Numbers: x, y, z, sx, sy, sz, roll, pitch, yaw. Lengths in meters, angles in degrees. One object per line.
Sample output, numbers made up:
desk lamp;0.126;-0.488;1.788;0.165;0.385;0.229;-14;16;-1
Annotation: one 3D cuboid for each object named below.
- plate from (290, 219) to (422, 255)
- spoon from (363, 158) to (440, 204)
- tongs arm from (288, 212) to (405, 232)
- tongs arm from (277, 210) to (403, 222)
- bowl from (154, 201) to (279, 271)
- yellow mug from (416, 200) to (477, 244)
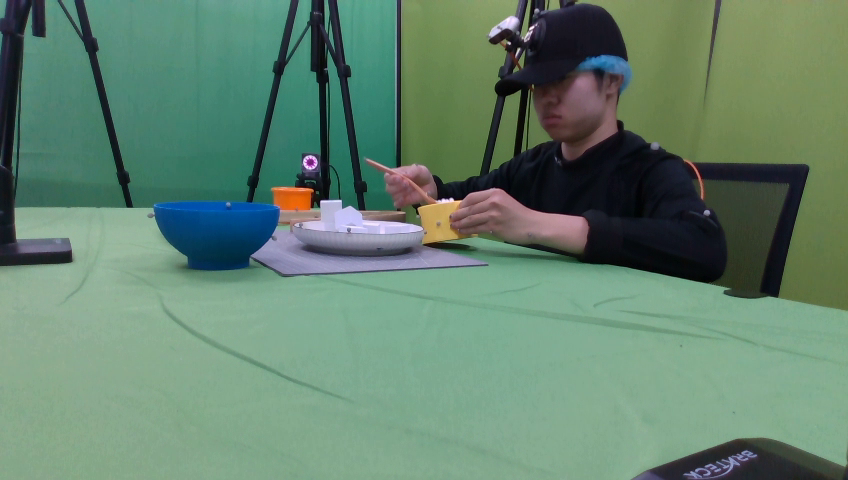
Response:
plate;-0.108;-0.005;0.963;0.208;0.039;0.207;2;7;0
spoon;-0.029;-0.101;1.072;0.193;0.021;0.042;34;10;18
tongs arm;-0.146;-0.040;1.280;0.028;0.028;0.389;3;5;33
tongs arm;-0.206;-0.052;1.332;0.387;0.026;0.050;-2;8;-44
bowl;-0.263;-0.005;0.773;0.151;0.077;0.151;3;8;0
yellow mug;0.047;-0.032;1.044;0.100;0.064;0.130;-7;0;-31
